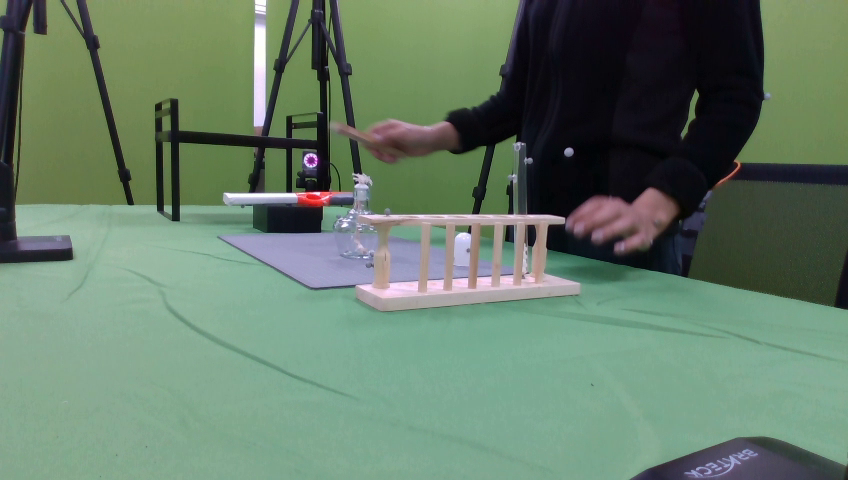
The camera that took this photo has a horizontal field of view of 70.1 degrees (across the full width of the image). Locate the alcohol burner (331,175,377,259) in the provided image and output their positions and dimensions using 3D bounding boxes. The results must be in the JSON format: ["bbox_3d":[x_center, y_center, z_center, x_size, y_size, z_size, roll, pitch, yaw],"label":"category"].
[{"bbox_3d":[-0.091,-0.033,0.855,0.078,0.119,0.078,4,7,0],"label":"alcohol burner"}]

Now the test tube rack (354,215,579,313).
[{"bbox_3d":[0.053,0.019,0.635,0.243,0.085,0.066,-1,8,-29],"label":"test tube rack"}]

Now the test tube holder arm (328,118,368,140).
[{"bbox_3d":[-0.137,-0.199,1.091,0.010,0.015,0.088,-8,-18,43],"label":"test tube holder arm"}]

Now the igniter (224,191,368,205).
[{"bbox_3d":[-0.237,-0.079,1.157,0.278,0.025,0.057,-2,21,-32],"label":"igniter"}]

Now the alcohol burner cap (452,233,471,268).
[{"bbox_3d":[0.053,0.014,0.823,0.034,0.048,0.034,3,6,0],"label":"alcohol burner cap"}]

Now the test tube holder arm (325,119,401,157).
[{"bbox_3d":[-0.110,-0.188,1.127,0.013,0.015,0.179,-8,-18,42],"label":"test tube holder arm"}]

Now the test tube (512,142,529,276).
[{"bbox_3d":[0.108,-0.034,0.677,0.017,0.150,0.017,-3,8,1],"label":"test tube"}]
